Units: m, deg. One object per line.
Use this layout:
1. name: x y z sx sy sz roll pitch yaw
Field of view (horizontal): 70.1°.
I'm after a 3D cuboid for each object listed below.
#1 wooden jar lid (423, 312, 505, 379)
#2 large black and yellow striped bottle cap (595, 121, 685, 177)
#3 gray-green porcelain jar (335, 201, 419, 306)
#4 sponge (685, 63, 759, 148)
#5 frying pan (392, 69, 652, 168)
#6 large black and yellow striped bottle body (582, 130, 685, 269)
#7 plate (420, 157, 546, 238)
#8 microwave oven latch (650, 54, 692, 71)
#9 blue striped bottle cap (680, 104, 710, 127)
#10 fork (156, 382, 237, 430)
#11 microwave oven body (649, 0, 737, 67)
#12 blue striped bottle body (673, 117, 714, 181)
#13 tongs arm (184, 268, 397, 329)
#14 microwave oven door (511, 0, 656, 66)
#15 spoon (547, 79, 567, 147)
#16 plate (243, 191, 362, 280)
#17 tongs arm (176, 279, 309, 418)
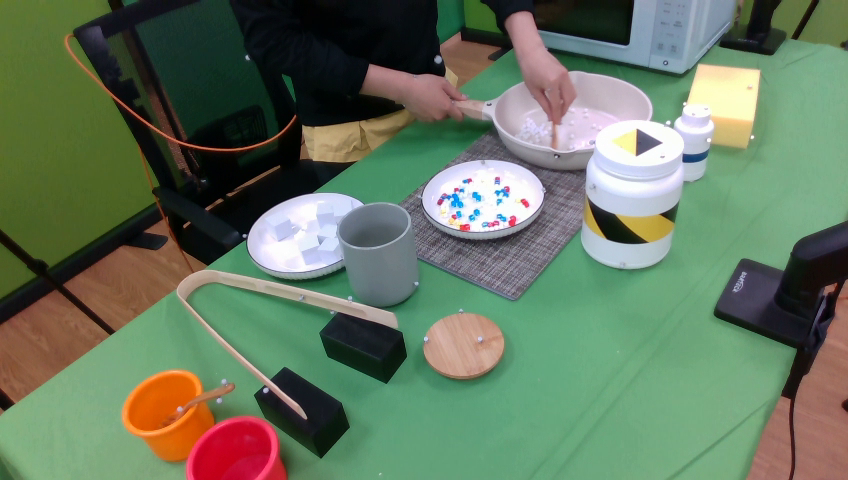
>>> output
1. wooden jar lid: 0.053 0.142 0.800 0.108 0.021 0.108 -5 39 4
2. large black and yellow striped bottle cap: 0.292 -0.126 0.821 0.115 0.019 0.114 -5 40 4
3. gray-green porcelain jar: -0.064 0.024 0.872 0.106 0.127 0.105 -4 41 4
4. sponge: 0.569 -0.263 1.164 0.117 0.061 0.207 12 45 22
5. frying pan: 0.175 -0.248 1.166 0.487 0.103 0.306 12 43 9
6. large black and yellow striped bottle body: 0.301 -0.063 0.877 0.131 0.185 0.130 -4 41 4
7. plate: 0.099 -0.067 1.017 0.209 0.038 0.208 -4 40 4
8. microwave oven latch: 0.531 -0.386 1.301 0.078 0.029 0.030 25 51 32
9. blue striped bottle cap: 0.443 -0.205 0.989 0.044 0.021 0.044 -1 41 2
10. fork: -0.262 0.189 0.690 0.018 0.206 0.028 49 43 -7
11. microwave oven body: 0.475 -0.602 1.411 0.438 0.261 0.327 23 50 32
12. blue striped bottle body: 0.449 -0.165 1.022 0.063 0.121 0.063 -5 41 4
13. tongs arm: -0.202 0.084 0.848 0.382 0.027 0.051 11 45 35
14. microwave oven door: 0.351 -0.540 1.350 0.353 0.245 0.039 24 50 31
15. spoon: 0.245 -0.231 1.136 0.021 0.041 0.193 15 66 0
16. plate: -0.187 -0.005 0.992 0.207 0.039 0.206 -4 41 4
17. tongs arm: -0.254 0.132 0.801 0.028 0.028 0.384 -41 40 -23
